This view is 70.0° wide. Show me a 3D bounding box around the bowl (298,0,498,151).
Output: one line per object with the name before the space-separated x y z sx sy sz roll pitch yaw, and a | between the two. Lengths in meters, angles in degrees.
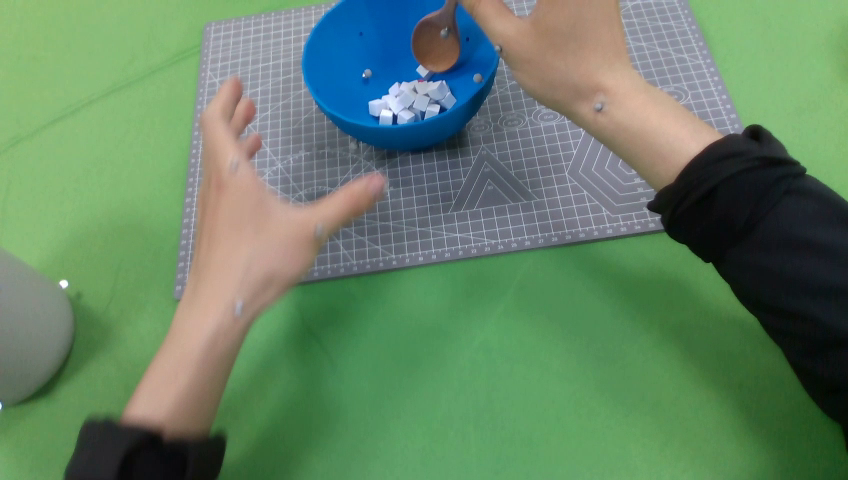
bowl | -0.016 -0.124 0.482 0.151 0.077 0.150 -3 61 6

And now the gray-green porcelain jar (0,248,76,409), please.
gray-green porcelain jar | -0.312 0.052 0.404 0.106 0.127 0.105 -3 61 6

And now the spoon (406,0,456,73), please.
spoon | 0.019 -0.162 0.404 0.042 0.193 0.021 34 78 -5
